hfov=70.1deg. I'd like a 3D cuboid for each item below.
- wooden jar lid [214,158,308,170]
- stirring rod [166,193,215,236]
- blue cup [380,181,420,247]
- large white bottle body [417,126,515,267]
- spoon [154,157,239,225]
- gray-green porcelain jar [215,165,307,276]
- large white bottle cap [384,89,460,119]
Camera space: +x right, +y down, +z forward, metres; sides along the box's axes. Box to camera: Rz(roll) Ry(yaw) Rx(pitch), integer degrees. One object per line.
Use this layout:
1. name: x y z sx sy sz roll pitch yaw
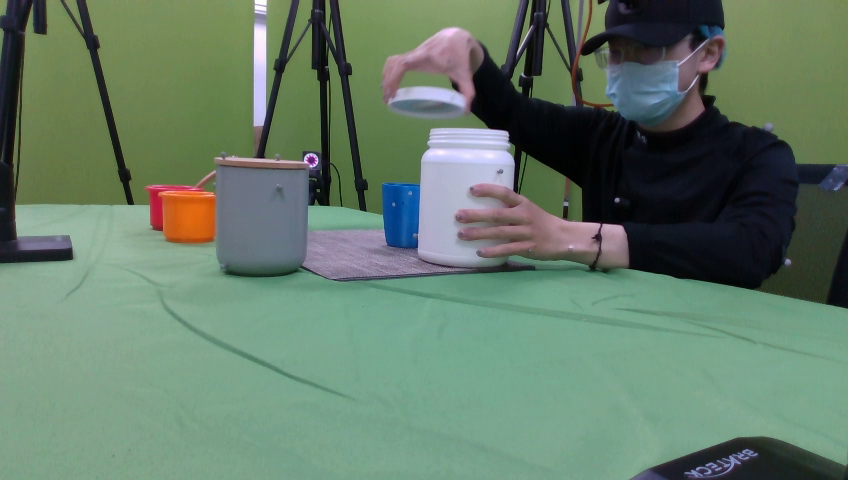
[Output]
1. wooden jar lid: -0.193 -0.085 0.719 0.108 0.020 0.108 2 9 0
2. stirring rod: -0.341 -0.066 0.967 0.176 0.006 0.014 -42 23 -9
3. blue cup: -0.029 -0.042 0.980 0.093 0.100 0.092 2 9 0
4. large white bottle body: 0.059 -0.063 0.841 0.131 0.184 0.130 2 8 0
5. spoon: -0.412 -0.092 1.105 0.041 0.022 0.194 13 56 51
6. gray-green porcelain jar: -0.195 -0.024 0.727 0.106 0.126 0.106 3 7 0
7. large white bottle cap: -0.002 -0.202 0.904 0.115 0.018 0.115 4 -1 0
